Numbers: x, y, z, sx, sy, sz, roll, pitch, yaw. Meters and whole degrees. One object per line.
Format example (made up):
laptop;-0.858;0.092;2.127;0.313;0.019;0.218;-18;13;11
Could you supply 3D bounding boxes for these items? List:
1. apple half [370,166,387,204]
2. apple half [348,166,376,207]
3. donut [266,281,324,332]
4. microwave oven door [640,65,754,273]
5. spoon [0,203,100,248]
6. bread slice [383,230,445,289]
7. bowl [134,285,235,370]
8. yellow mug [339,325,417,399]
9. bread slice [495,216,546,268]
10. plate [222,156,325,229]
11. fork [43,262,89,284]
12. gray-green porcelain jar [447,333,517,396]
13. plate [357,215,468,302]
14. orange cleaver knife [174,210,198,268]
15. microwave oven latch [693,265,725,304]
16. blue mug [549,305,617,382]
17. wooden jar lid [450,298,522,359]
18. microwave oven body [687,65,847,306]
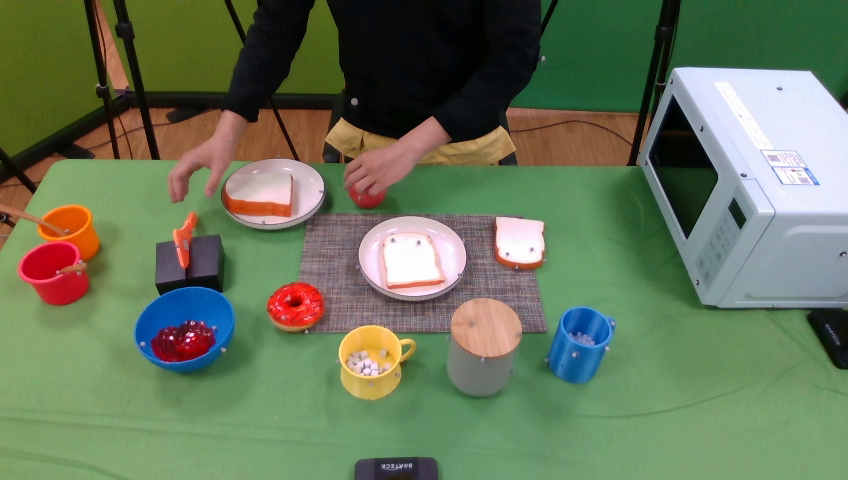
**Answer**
apple half;-0.092;-0.115;1.261;0.033;0.082;0.080;-8;48;-8
apple half;-0.130;-0.109;1.254;0.053;0.075;0.080;-10;50;-7
donut;-0.222;0.115;1.049;0.099;0.048;0.098;2;45;-2
microwave oven door;0.523;-0.147;1.193;0.039;0.245;0.353;0;47;-3
spoon;-0.683;-0.031;1.088;0.195;0.021;0.041;33;33;-38
bread slice;-0.028;0.035;1.145;0.107;0.018;0.133;-7;49;-11
bowl;-0.377;0.155;0.981;0.151;0.077;0.150;2;46;-2
yellow mug;-0.072;0.190;0.978;0.131;0.064;0.099;-17;50;-20
bread slice;0.194;0.002;1.204;0.105;0.019;0.131;6;46;2
plate;-0.307;-0.095;1.251;0.209;0.038;0.208;2;47;-2
fork;-0.599;0.053;1.014;0.207;0.019;0.028;-14;30;45
gray-green porcelain jar;0.091;0.178;0.960;0.106;0.127;0.105;2;46;-2
plate;-0.022;0.037;1.141;0.208;0.039;0.206;2;46;-2
orange cleaver knife;-0.436;-0.006;1.127;0.012;0.077;0.210;-13;19;-9
microwave oven latch;0.522;0.081;1.115;0.030;0.029;0.078;2;46;-1
blue mug;0.269;0.166;0.998;0.116;0.106;0.082;-19;51;-21
wooden jar lid;0.093;0.135;0.914;0.108;0.021;0.107;3;48;-3
microwave oven body;0.669;-0.111;1.176;0.326;0.261;0.439;0;46;-3
